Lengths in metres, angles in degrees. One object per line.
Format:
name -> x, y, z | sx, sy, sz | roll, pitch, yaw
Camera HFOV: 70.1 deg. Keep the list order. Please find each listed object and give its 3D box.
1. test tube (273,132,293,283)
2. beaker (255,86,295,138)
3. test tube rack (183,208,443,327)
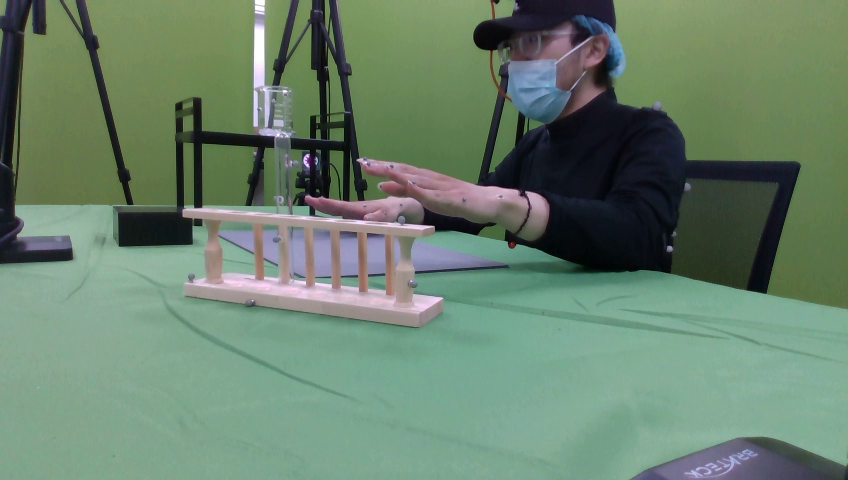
test tube -> -0.139, -0.030, 0.596 | 0.017, 0.150, 0.017 | 1, 9, 0
beaker -> -0.309, -0.263, 1.251 | 0.084, 0.100, 0.073 | -4, 9, -38
test tube rack -> -0.106, 0.019, 0.570 | 0.241, 0.085, 0.067 | 5, 8, 19
